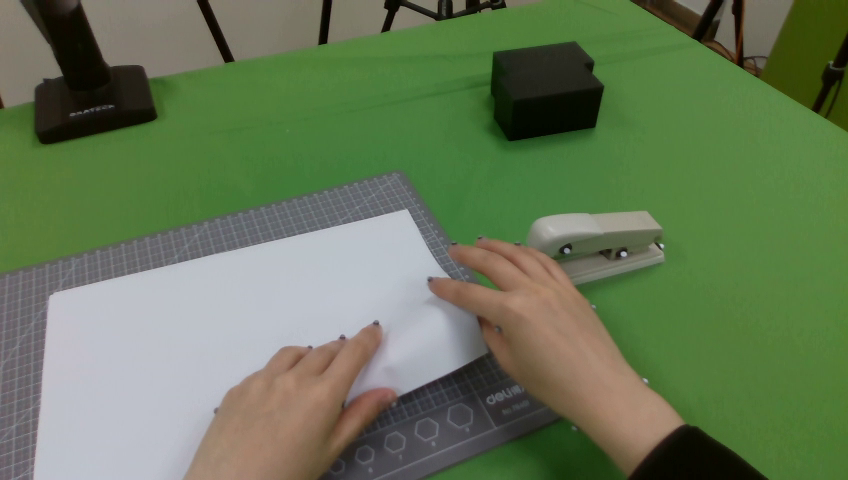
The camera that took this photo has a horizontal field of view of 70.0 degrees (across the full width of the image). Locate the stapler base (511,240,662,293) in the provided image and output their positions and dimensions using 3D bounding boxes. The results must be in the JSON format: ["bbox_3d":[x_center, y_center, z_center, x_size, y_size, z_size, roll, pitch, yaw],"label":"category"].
[{"bbox_3d":[0.137,0.010,0.505,0.131,0.024,0.041,-13,48,-16],"label":"stapler base"}]

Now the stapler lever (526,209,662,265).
[{"bbox_3d":[0.139,-0.008,0.489,0.118,0.040,0.026,-14,49,-15],"label":"stapler lever"}]
